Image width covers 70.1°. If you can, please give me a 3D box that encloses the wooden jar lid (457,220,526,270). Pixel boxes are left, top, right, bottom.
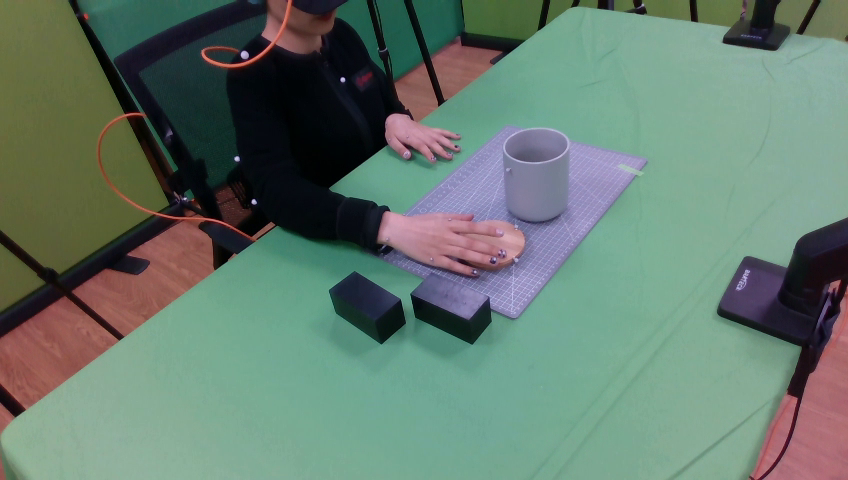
[{"bbox_3d":[0.106,0.009,0.950,0.108,0.021,0.108,-4,40,4],"label":"wooden jar lid"}]

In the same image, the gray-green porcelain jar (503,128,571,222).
[{"bbox_3d":[0.184,-0.102,0.983,0.106,0.127,0.105,-5,40,5],"label":"gray-green porcelain jar"}]
